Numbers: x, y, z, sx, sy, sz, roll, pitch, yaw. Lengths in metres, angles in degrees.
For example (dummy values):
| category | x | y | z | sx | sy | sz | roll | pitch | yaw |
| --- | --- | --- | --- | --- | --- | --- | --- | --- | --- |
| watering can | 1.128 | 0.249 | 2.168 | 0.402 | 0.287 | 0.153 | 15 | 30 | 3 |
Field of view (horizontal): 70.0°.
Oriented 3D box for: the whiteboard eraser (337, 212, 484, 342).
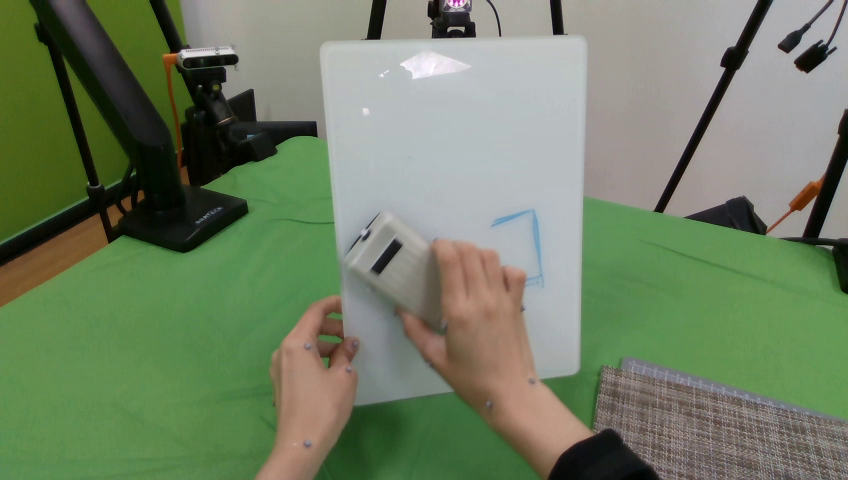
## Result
| category | x | y | z | sx | sy | sz | roll | pitch | yaw |
| --- | --- | --- | --- | --- | --- | --- | --- | --- | --- |
| whiteboard eraser | -0.010 | 0.030 | 0.489 | 0.113 | 0.055 | 0.041 | 37 | 1 | -19 |

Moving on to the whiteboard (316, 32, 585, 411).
| category | x | y | z | sx | sy | sz | roll | pitch | yaw |
| --- | --- | --- | --- | --- | --- | --- | --- | --- | --- |
| whiteboard | 0.020 | -0.026 | 0.571 | 0.218 | 0.306 | 0.143 | -6 | 14 | -10 |
